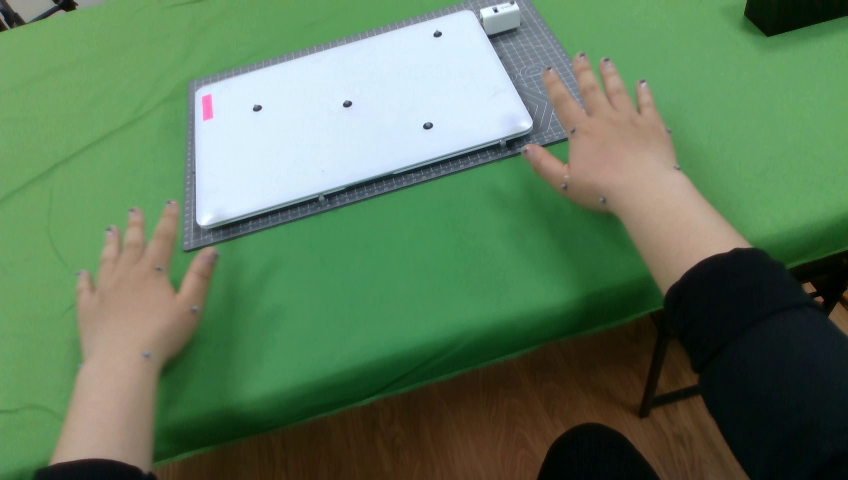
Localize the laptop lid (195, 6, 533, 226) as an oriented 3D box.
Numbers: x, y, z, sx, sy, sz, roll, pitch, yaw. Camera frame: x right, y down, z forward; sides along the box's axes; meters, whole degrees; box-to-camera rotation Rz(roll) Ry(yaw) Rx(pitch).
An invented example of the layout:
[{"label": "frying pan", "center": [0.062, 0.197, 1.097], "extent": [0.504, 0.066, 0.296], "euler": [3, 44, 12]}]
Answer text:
[{"label": "laptop lid", "center": [-0.083, -0.150, 0.669], "extent": [0.357, 0.013, 0.239], "euler": [-16, 53, 0]}]

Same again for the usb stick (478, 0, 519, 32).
[{"label": "usb stick", "center": [0.082, -0.267, 0.724], "extent": [0.059, 0.027, 0.021], "euler": [-18, 50, 2]}]

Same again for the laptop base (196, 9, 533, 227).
[{"label": "laptop base", "center": [-0.082, -0.145, 0.679], "extent": [0.354, 0.023, 0.233], "euler": [-17, 54, -1]}]
